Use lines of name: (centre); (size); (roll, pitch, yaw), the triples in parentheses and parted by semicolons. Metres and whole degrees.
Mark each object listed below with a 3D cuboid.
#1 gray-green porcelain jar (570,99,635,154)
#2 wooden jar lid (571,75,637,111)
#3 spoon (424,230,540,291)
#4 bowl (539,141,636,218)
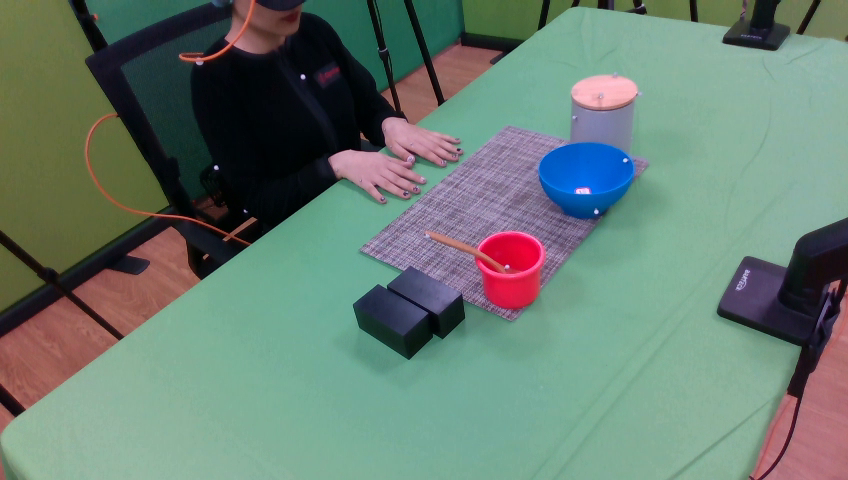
gray-green porcelain jar: (0.313, -0.197, 1.069); (0.106, 0.127, 0.105); (-5, 40, 5)
wooden jar lid: (0.305, -0.246, 1.027); (0.108, 0.021, 0.108); (-5, 41, 5)
spoon: (0.083, 0.026, 0.836); (0.195, 0.021, 0.041); (29, 31, -24)
bowl: (0.264, -0.089, 0.989); (0.151, 0.077, 0.150); (-5, 40, 5)
